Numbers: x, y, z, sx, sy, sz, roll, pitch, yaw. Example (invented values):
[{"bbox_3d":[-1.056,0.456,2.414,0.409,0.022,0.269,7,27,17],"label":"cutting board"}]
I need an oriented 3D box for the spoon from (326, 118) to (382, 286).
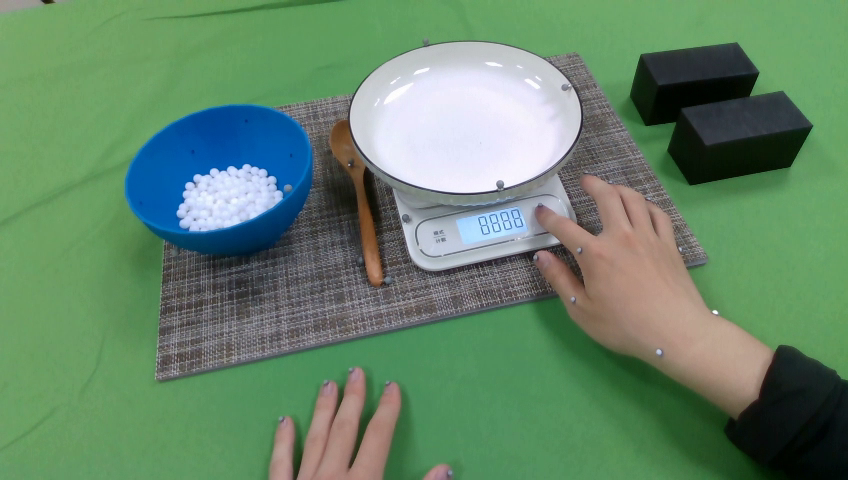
[{"bbox_3d":[-0.061,-0.041,0.551,0.042,0.022,0.191,-3,51,-16],"label":"spoon"}]

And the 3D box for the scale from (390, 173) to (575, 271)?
[{"bbox_3d":[0.041,-0.067,0.560,0.149,0.032,0.198,-12,53,-5],"label":"scale"}]

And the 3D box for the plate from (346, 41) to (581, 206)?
[{"bbox_3d":[0.034,-0.105,0.548,0.209,0.038,0.207,-1,52,2],"label":"plate"}]

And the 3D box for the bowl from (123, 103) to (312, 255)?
[{"bbox_3d":[-0.165,-0.040,0.521,0.151,0.077,0.150,-1,52,2],"label":"bowl"}]
